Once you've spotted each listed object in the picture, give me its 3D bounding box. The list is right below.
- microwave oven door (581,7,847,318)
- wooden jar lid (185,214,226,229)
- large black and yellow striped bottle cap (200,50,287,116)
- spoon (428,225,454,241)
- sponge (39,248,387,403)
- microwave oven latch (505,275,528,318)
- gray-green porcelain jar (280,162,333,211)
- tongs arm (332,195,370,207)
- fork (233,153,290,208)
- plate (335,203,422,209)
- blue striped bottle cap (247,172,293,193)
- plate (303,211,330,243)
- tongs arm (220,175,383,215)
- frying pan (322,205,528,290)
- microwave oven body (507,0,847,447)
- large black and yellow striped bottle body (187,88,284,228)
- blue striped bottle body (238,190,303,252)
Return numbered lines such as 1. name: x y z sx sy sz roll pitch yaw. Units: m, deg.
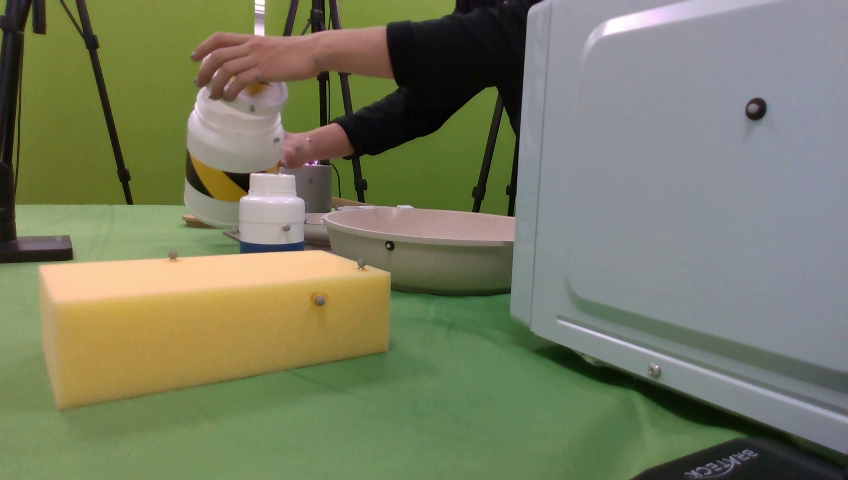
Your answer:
1. microwave oven door: 0.295 -0.067 0.569 0.358 0.243 0.039 -3 8 -31
2. wooden jar lid: -0.404 -0.037 1.169 0.108 0.020 0.108 3 7 0
3. large black and yellow striped bottle cap: -0.242 -0.213 0.816 0.115 0.019 0.114 22 41 -20
4. spoon: 0.024 -0.018 1.124 0.042 0.021 0.193 -17 10 -4
5. sponge: -0.142 0.047 0.420 0.208 0.061 0.117 -3 8 -36
6. microwave oven latch: 0.100 0.041 0.472 0.079 0.029 0.030 -2 8 -30
7. gray-green porcelain jar: -0.238 -0.092 1.221 0.106 0.126 0.106 2 7 0
8. tongs arm: -0.241 -0.095 1.374 0.387 0.026 0.050 9 1 -37
9. fork: -0.396 -0.143 1.486 0.028 0.018 0.208 20 -26 45
10. plate: -0.089 -0.053 1.309 0.208 0.039 0.207 2 8 0
11. blue striped bottle cap: -0.152 -0.057 0.598 0.044 0.020 0.044 3 6 0
12. plate: -0.138 -0.022 1.020 0.209 0.038 0.209 2 8 0
13. tongs arm: -0.285 -0.105 1.445 0.389 0.027 0.028 10 -3 -23
14. frying pan: 0.110 -0.018 0.800 0.490 0.102 0.305 -12 16 -30
15. microwave oven body: 0.331 -0.042 0.425 0.444 0.260 0.324 -2 8 -31
16. large black and yellow striped bottle body: -0.278 -0.124 0.892 0.131 0.184 0.130 12 37 -9
17. blue striped bottle body: -0.153 -0.007 0.606 0.063 0.120 0.063 2 7 0
